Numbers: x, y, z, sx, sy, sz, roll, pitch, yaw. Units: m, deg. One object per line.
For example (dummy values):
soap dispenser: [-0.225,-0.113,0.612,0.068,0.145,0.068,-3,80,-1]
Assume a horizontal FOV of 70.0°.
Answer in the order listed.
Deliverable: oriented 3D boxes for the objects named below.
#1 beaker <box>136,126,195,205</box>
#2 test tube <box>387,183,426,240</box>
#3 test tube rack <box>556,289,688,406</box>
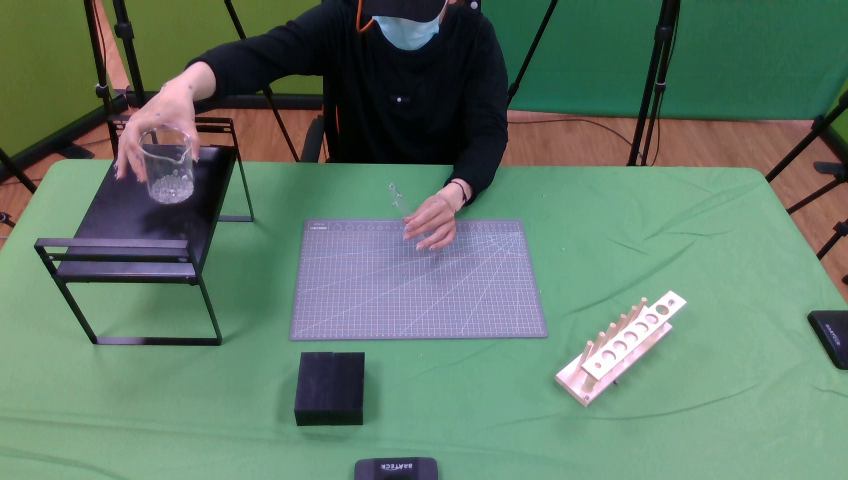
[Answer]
beaker: [-0.387,-0.108,0.921,0.074,0.100,0.083,-29,60,-35]
test tube: [-0.029,-0.048,1.099,0.017,0.151,0.017,-15,47,17]
test tube rack: [0.332,0.166,1.014,0.242,0.085,0.066,-30,55,-28]
